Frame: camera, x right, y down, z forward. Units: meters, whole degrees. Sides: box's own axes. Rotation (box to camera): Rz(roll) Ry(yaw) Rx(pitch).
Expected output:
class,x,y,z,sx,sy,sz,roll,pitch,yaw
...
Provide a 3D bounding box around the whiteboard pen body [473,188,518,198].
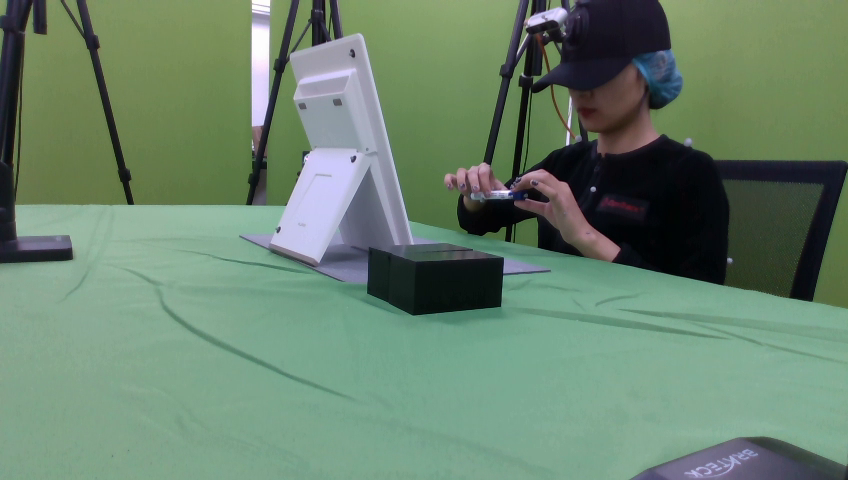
class,x,y,z,sx,sy,sz,roll,pitch,yaw
whiteboard pen body,0.126,-0.083,1.071,0.017,0.017,0.140,-1,6,-25

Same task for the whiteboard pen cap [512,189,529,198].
class,x,y,z,sx,sy,sz,roll,pitch,yaw
whiteboard pen cap,0.160,-0.078,1.022,0.018,0.018,0.033,-2,5,-32

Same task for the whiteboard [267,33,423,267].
class,x,y,z,sx,sy,sz,roll,pitch,yaw
whiteboard,-0.153,-0.098,0.819,0.144,0.305,0.216,-25,21,-29
